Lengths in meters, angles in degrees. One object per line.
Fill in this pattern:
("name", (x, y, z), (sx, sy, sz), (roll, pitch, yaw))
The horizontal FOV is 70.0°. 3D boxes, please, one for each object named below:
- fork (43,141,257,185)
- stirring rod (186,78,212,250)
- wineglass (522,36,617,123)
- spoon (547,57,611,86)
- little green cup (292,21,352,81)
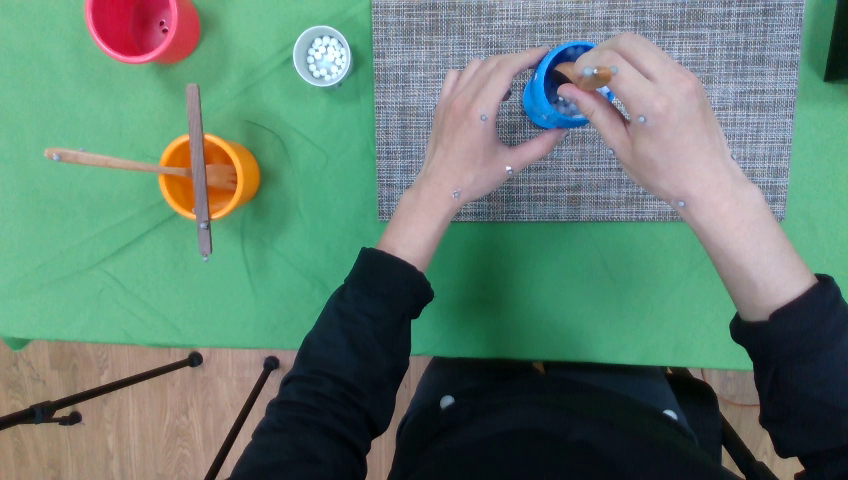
("fork", (-0.275, -0.080, 0.632), (0.209, 0.018, 0.028), (4, 111, -40))
("stirring rod", (-0.233, -0.077, 0.627), (0.014, 0.006, 0.176), (0, 100, 4))
("wineglass", (0.131, -0.146, 0.573), (0.073, 0.172, 0.074), (1, 100, 5))
("spoon", (0.116, -0.122, 0.444), (0.041, 0.193, 0.022), (20, 109, 1))
("little green cup", (-0.107, -0.201, 0.653), (0.061, 0.038, 0.062), (1, 101, 5))
